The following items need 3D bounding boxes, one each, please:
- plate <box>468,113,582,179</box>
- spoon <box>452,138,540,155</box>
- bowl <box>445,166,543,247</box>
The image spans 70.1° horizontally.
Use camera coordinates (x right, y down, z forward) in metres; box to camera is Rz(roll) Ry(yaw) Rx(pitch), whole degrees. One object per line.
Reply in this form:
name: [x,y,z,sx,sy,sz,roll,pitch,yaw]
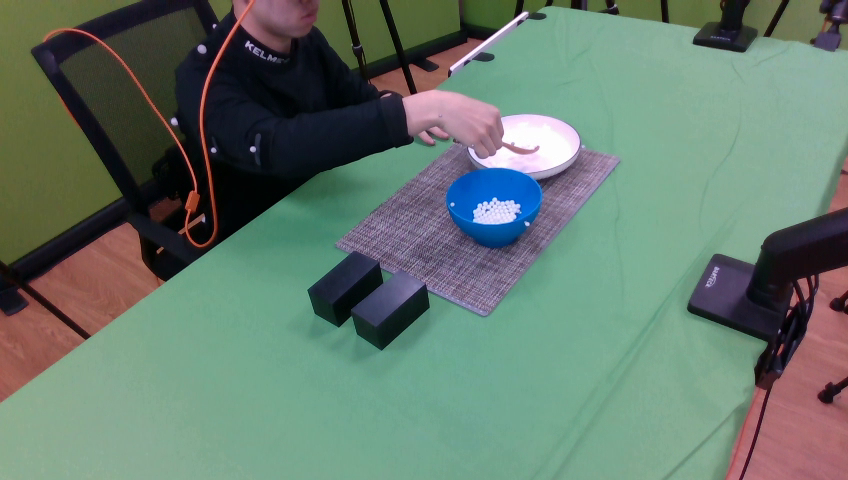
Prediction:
plate: [0.186,-0.169,1.122,0.207,0.039,0.206,-4,41,4]
spoon: [0.124,-0.163,1.030,0.195,0.021,0.041,3,13,-36]
bowl: [0.111,-0.042,0.952,0.151,0.077,0.150,-4,41,4]
